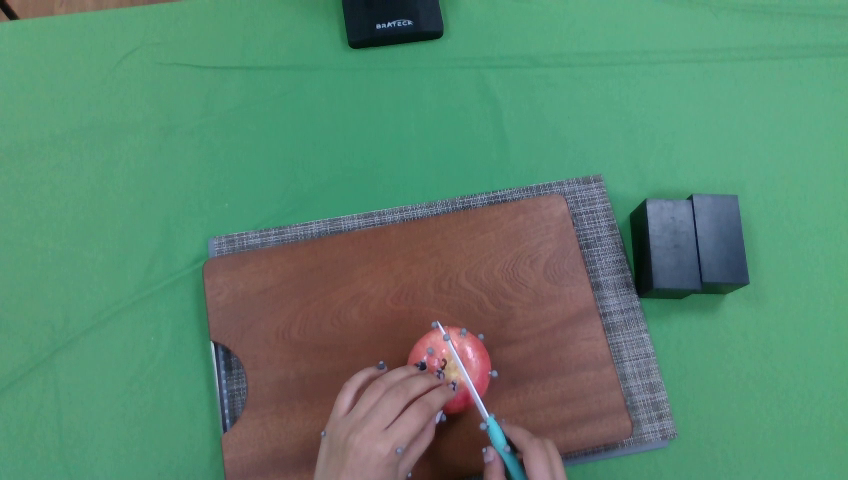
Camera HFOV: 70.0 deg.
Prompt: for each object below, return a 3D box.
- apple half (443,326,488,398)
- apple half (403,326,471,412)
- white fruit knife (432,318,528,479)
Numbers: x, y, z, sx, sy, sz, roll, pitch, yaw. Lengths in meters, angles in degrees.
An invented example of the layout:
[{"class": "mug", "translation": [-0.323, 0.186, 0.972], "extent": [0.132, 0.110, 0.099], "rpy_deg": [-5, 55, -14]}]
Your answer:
[{"class": "apple half", "translation": [0.044, 0.116, 0.584], "extent": [0.033, 0.081, 0.081], "rpy_deg": [-21, 75, -4]}, {"class": "apple half", "translation": [0.008, 0.128, 0.581], "extent": [0.053, 0.075, 0.080], "rpy_deg": [-21, 79, -4]}, {"class": "white fruit knife", "translation": [0.055, 0.160, 0.531], "extent": [0.016, 0.027, 0.207], "rpy_deg": [-28, 91, -16]}]
